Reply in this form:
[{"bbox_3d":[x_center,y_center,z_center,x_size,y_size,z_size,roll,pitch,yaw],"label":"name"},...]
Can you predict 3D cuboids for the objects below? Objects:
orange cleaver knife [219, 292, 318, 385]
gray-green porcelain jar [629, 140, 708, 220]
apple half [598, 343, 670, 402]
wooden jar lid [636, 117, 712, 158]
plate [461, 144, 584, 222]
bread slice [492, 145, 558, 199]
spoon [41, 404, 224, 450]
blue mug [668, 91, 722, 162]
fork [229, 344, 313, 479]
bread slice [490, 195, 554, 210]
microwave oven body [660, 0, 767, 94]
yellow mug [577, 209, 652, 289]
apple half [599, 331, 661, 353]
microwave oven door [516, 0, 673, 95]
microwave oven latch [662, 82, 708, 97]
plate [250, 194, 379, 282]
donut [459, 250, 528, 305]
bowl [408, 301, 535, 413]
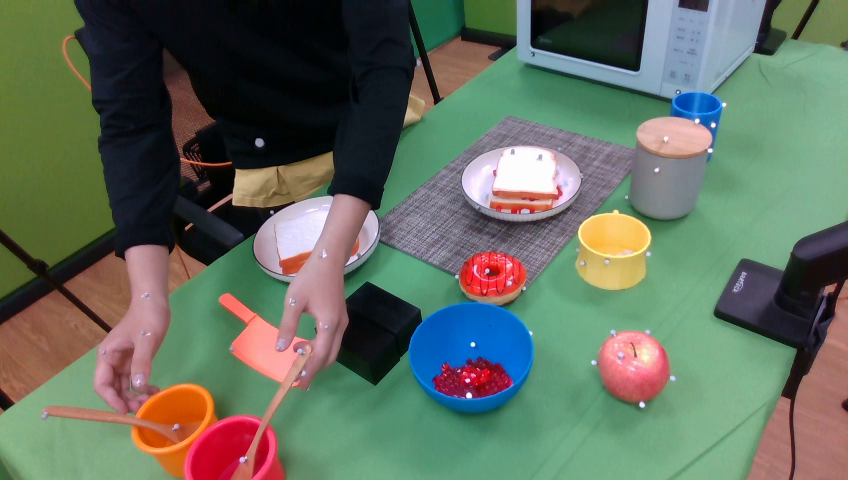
[{"bbox_3d":[-0.235,0.136,0.850,0.209,0.012,0.077,26,56,30],"label":"orange cleaver knife"},{"bbox_3d":[0.383,-0.104,0.958,0.106,0.127,0.105,-4,41,4],"label":"gray-green porcelain jar"},{"bbox_3d":[0.247,0.161,0.710,0.081,0.075,0.053,2,47,5],"label":"apple half"},{"bbox_3d":[0.377,-0.151,0.917,0.108,0.021,0.108,-2,41,3],"label":"wooden jar lid"},{"bbox_3d":[0.167,-0.095,1.040,0.207,0.039,0.206,-4,41,4],"label":"plate"},{"bbox_3d":[0.172,-0.118,1.028,0.107,0.018,0.134,3,44,7],"label":"bread slice"},{"bbox_3d":[-0.321,0.205,0.681,0.195,0.021,0.041,26,26,-33],"label":"spoon"},{"bbox_3d":[0.474,-0.206,1.079,0.082,0.106,0.116,4,42,13],"label":"blue mug"},{"bbox_3d":[-0.173,0.205,0.662,0.028,0.019,0.207,29,94,36],"label":"fork"},{"bbox_3d":[0.173,-0.099,1.047,0.104,0.019,0.131,2,42,12],"label":"bread slice"},{"bbox_3d":[0.473,-0.516,1.313,0.438,0.261,0.327,26,51,34],"label":"microwave oven body"},{"bbox_3d":[0.279,0.004,0.893,0.099,0.064,0.130,5,41,15],"label":"yellow mug"},{"bbox_3d":[0.249,0.134,0.738,0.081,0.081,0.032,-1,46,7],"label":"apple half"},{"bbox_3d":[0.344,-0.458,1.256,0.353,0.245,0.039,26,51,33],"label":"microwave oven door"},{"bbox_3d":[0.517,-0.298,1.202,0.078,0.029,0.030,27,52,34],"label":"microwave oven latch"},{"bbox_3d":[-0.174,-0.001,0.984,0.209,0.038,0.208,-3,40,3],"label":"plate"},{"bbox_3d":[0.100,0.053,0.873,0.099,0.048,0.098,-5,40,4],"label":"donut"},{"bbox_3d":[0.060,0.156,0.739,0.151,0.077,0.150,-4,40,4],"label":"bowl"}]
